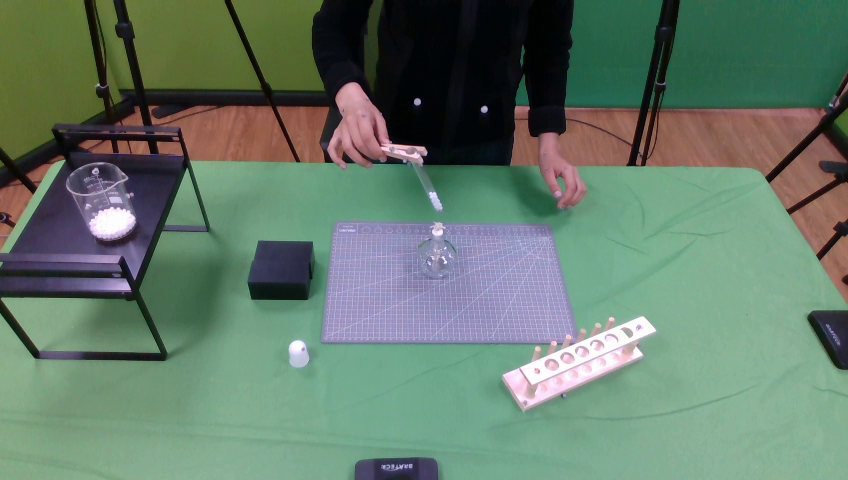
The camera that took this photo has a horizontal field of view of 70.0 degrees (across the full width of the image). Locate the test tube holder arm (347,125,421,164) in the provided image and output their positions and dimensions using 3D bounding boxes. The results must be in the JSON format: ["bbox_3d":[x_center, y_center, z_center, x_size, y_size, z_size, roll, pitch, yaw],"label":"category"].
[{"bbox_3d":[-0.069,-0.157,0.985,0.177,0.015,0.013,29,89,39],"label":"test tube holder arm"}]

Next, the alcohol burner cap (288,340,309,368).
[{"bbox_3d":[-0.207,0.183,0.991,0.034,0.048,0.033,3,47,-3],"label":"alcohol burner cap"}]

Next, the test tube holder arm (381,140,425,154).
[{"bbox_3d":[-0.035,-0.148,0.957,0.087,0.015,0.010,15,81,38],"label":"test tube holder arm"}]

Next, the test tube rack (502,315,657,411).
[{"bbox_3d":[0.253,0.186,0.989,0.242,0.085,0.066,-18,50,-20],"label":"test tube rack"}]

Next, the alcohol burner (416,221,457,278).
[{"bbox_3d":[0.024,0.013,1.116,0.078,0.120,0.077,1,45,-1],"label":"alcohol burner"}]

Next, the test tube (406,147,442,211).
[{"bbox_3d":[0.002,-0.097,0.996,0.017,0.151,0.017,-12,51,15],"label":"test tube"}]

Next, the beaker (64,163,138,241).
[{"bbox_3d":[-0.477,-0.055,0.910,0.084,0.101,0.073,-9,48,-13],"label":"beaker"}]
